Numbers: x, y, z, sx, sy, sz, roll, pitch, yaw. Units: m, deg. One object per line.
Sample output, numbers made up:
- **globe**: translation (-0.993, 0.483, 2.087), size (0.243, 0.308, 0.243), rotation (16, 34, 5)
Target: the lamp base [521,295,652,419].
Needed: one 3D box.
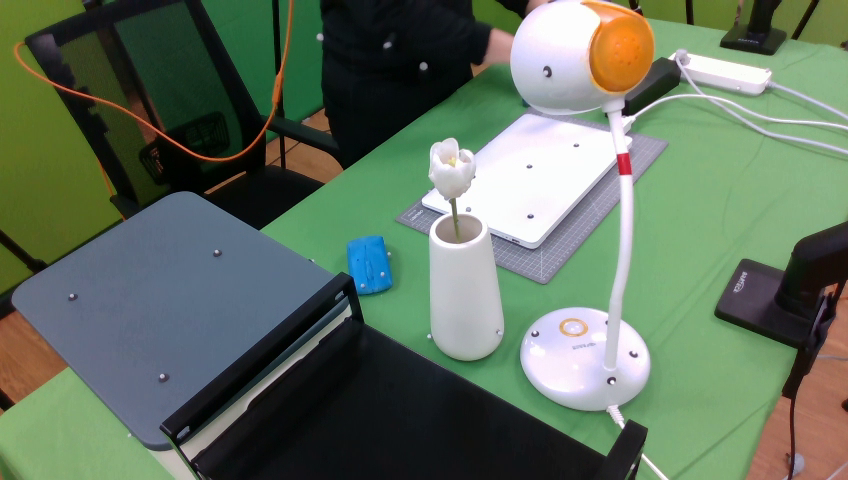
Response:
- **lamp base**: translation (0.201, 0.095, 0.710), size (0.161, 0.181, 0.177), rotation (-16, 43, -10)

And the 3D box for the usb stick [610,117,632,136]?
- **usb stick**: translation (0.370, -0.207, 1.147), size (0.021, 0.027, 0.059), rotation (27, 55, 32)

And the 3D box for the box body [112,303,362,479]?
- **box body**: translation (-0.285, 0.123, 0.766), size (0.361, 0.161, 0.255), rotation (25, 49, 33)

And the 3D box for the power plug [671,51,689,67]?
- **power plug**: translation (0.541, -0.378, 1.301), size (0.073, 0.053, 0.035), rotation (-32, 46, -24)

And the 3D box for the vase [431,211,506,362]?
- **vase**: translation (0.054, 0.062, 0.757), size (0.098, 0.201, 0.097), rotation (-3, 40, 3)

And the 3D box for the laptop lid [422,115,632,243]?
- **laptop lid**: translation (0.189, -0.126, 1.081), size (0.239, 0.013, 0.358), rotation (23, 49, 35)

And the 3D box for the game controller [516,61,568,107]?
- **game controller**: translation (0.260, -0.352, 1.336), size (0.097, 0.052, 0.154), rotation (-4, 40, 2)

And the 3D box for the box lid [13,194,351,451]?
- **box lid**: translation (-0.292, 0.067, 0.717), size (0.368, 0.015, 0.264), rotation (25, 50, 33)

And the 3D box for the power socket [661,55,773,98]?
- **power socket**: translation (0.619, -0.352, 1.289), size (0.225, 0.033, 0.072), rotation (26, 51, 33)

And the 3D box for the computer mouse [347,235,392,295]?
- **computer mouse**: translation (-0.086, 0.035, 0.936), size (0.063, 0.041, 0.116), rotation (-8, 44, -5)

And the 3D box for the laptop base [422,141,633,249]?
- **laptop base**: translation (0.193, -0.117, 1.087), size (0.233, 0.023, 0.355), rotation (21, 47, 34)

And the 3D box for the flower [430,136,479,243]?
- **flower**: translation (0.041, 0.011, 0.691), size (0.044, 0.363, 0.038), rotation (16, 62, 14)

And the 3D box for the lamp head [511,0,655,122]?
- **lamp head**: translation (0.155, -0.168, 0.564), size (0.113, 0.113, 0.122), rotation (-18, 23, -12)
